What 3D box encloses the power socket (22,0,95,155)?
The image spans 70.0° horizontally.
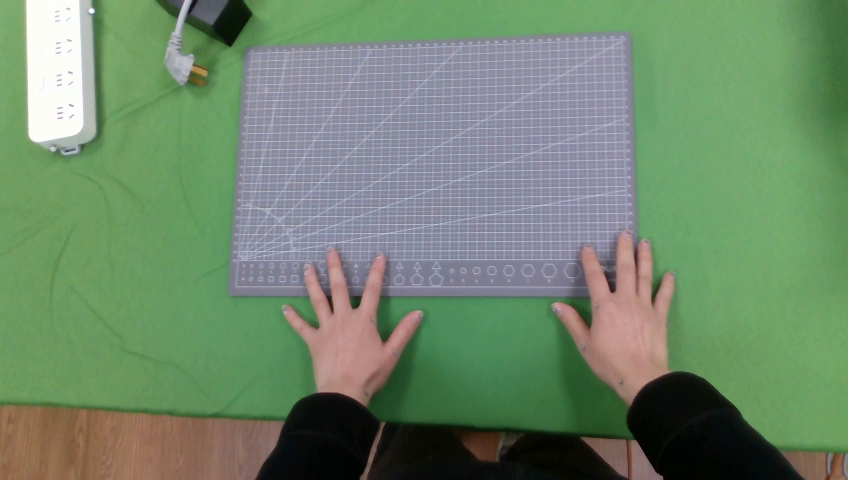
[{"bbox_3d":[-0.445,-0.216,0.737,0.072,0.033,0.225,-9,79,4],"label":"power socket"}]

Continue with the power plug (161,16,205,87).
[{"bbox_3d":[-0.276,-0.213,0.705,0.053,0.073,0.035,19,38,-25],"label":"power plug"}]
